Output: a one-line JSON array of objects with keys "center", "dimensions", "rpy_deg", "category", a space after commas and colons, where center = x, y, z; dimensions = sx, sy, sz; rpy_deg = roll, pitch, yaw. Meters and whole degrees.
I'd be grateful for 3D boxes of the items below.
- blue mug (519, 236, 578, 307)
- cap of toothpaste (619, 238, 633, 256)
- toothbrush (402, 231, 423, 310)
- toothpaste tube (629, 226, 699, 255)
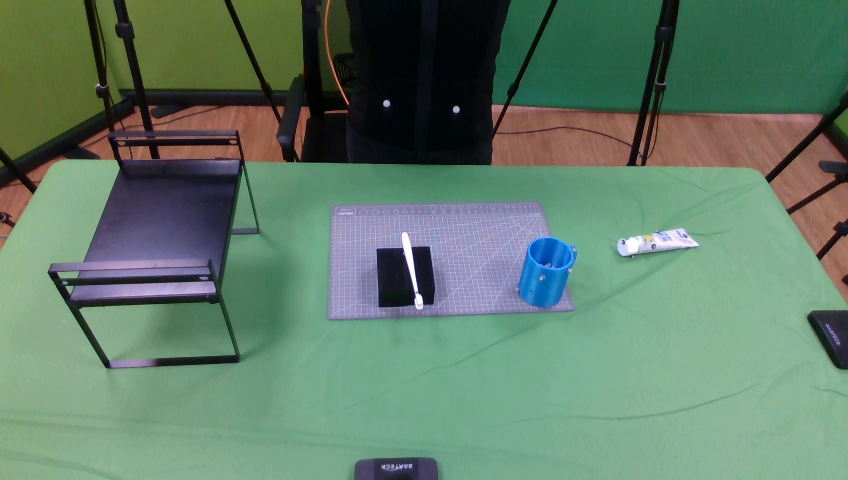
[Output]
[{"center": [0.234, 0.052, 1.102], "dimensions": [0.116, 0.106, 0.082], "rpy_deg": [-23, 52, -24], "category": "blue mug"}, {"center": [0.400, 0.013, 1.200], "dimensions": [0.011, 0.037, 0.037], "rpy_deg": [-10, 48, -18], "category": "cap of toothpaste"}, {"center": [-0.022, 0.049, 1.080], "dimensions": [0.014, 0.017, 0.180], "rpy_deg": [-9, 47, -5], "category": "toothbrush"}, {"center": [0.475, 0.003, 1.223], "dimensions": [0.165, 0.035, 0.054], "rpy_deg": [-10, 52, -18], "category": "toothpaste tube"}]
